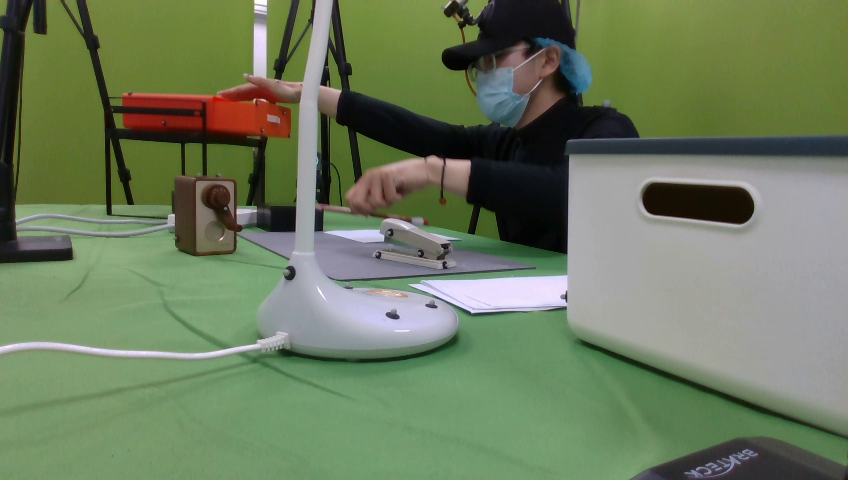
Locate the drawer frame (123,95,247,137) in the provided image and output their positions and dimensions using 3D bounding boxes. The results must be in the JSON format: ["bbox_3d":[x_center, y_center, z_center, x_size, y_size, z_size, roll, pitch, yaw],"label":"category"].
[{"bbox_3d":[-0.524,-0.280,1.376,0.213,0.082,0.202,3,8,8],"label":"drawer frame"}]

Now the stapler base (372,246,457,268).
[{"bbox_3d":[-0.016,0.017,0.831,0.130,0.024,0.041,10,12,39],"label":"stapler base"}]

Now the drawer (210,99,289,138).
[{"bbox_3d":[-0.432,-0.273,1.364,0.211,0.073,0.195,3,8,9],"label":"drawer"}]

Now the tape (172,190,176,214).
[{"bbox_3d":[-0.516,-0.087,1.388,0.117,0.052,0.117,3,7,0],"label":"tape"}]

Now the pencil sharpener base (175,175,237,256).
[{"bbox_3d":[-0.304,-0.036,0.847,0.062,0.107,0.076,-4,10,-42],"label":"pencil sharpener base"}]

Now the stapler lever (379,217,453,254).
[{"bbox_3d":[-0.013,-0.007,0.828,0.117,0.040,0.027,9,11,39],"label":"stapler lever"}]

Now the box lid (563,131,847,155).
[{"bbox_3d":[0.322,-0.064,0.463,0.373,0.015,0.262,-2,9,-31],"label":"box lid"}]

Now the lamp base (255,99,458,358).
[{"bbox_3d":[-0.056,-0.013,0.462,0.160,0.180,0.180,6,11,27],"label":"lamp base"}]

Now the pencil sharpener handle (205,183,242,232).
[{"bbox_3d":[-0.265,-0.043,0.812,0.036,0.068,0.030,-31,27,-35],"label":"pencil sharpener handle"}]

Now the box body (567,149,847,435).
[{"bbox_3d":[0.318,0.009,0.471,0.366,0.160,0.253,-2,8,-31],"label":"box body"}]

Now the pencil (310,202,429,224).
[{"bbox_3d":[-0.087,-0.044,0.977,0.194,0.012,0.012,9,7,-9],"label":"pencil"}]

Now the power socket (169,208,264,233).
[{"bbox_3d":[-0.381,-0.038,1.129,0.072,0.032,0.227,4,8,17],"label":"power socket"}]

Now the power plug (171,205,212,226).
[{"bbox_3d":[-0.455,-0.040,1.196,0.052,0.035,0.072,3,44,23],"label":"power plug"}]
